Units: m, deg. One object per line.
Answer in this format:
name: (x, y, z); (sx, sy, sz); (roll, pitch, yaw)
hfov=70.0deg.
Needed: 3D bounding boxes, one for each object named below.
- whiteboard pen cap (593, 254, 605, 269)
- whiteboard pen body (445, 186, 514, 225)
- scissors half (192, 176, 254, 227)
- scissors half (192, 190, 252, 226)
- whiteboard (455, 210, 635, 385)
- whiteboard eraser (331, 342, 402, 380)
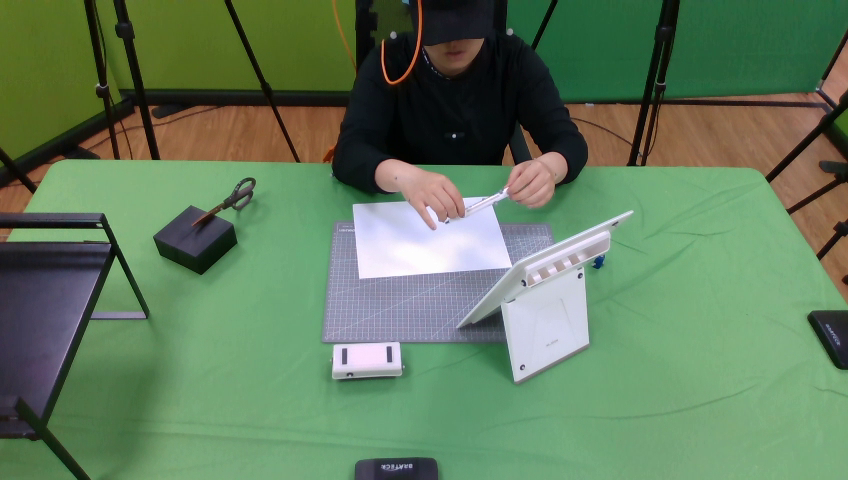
whiteboard pen cap: (0.341, 0.041, 1.179); (0.018, 0.033, 0.018); (1, 46, -1)
whiteboard pen body: (0.101, -0.061, 1.104); (0.141, 0.017, 0.017); (-28, 50, 1)
scissors half: (-0.388, -0.075, 1.174); (0.013, 0.040, 0.174); (29, 47, 8)
scissors half: (-0.393, -0.060, 1.187); (0.013, 0.040, 0.175); (25, 29, 12)
whiteboard: (0.211, 0.111, 0.955); (0.217, 0.306, 0.143); (-21, 71, -23)
whiteboard eraser: (-0.094, 0.198, 0.986); (0.113, 0.042, 0.055); (-2, 44, -6)
